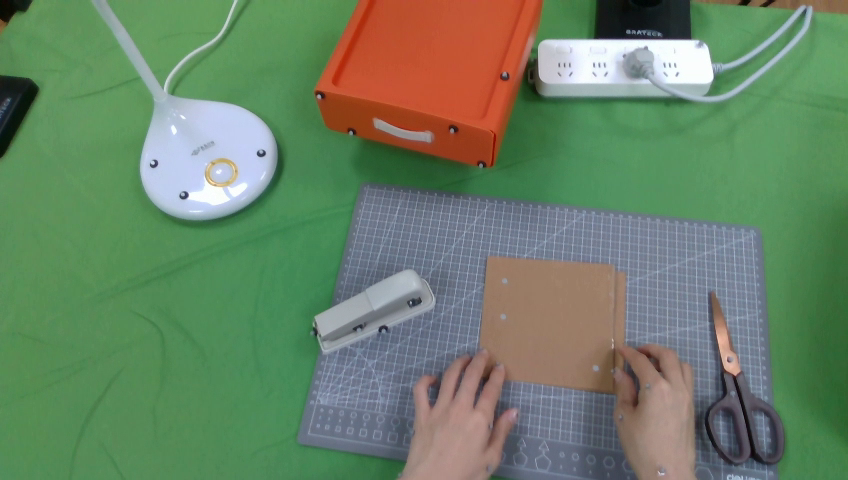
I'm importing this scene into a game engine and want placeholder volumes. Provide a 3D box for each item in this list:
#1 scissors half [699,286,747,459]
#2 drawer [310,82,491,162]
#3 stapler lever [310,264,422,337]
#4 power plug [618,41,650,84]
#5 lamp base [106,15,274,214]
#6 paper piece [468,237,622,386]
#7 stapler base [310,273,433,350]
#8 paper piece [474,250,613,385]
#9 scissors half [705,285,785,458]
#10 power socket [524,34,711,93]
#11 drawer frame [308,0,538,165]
[{"bbox_3d":[0.288,0.124,0.595,0.040,0.013,0.174,7,62,5],"label":"scissors half"},{"bbox_3d":[0.005,-0.209,0.680,0.194,0.074,0.210,15,66,10],"label":"drawer"},{"bbox_3d":[-0.058,0.059,0.609,0.118,0.040,0.026,-23,63,-7],"label":"stapler lever"},{"bbox_3d":[0.246,-0.202,0.716,0.035,0.053,0.072,11,66,8],"label":"power plug"},{"bbox_3d":[-0.272,-0.142,0.655,0.178,0.182,0.160,39,72,21],"label":"lamp base"},{"bbox_3d":[0.129,0.071,0.638,0.135,0.004,0.135,15,68,16],"label":"paper piece"},{"bbox_3d":[-0.055,0.069,0.631,0.130,0.024,0.041,-23,63,-6],"label":"stapler base"},{"bbox_3d":[0.125,0.076,0.627,0.136,0.009,0.137,3,69,10],"label":"paper piece"},{"bbox_3d":[0.308,0.123,0.594,0.040,0.013,0.173,-11,61,2],"label":"scissors half"},{"bbox_3d":[0.239,-0.219,0.749,0.227,0.033,0.071,2,66,3],"label":"power socket"},{"bbox_3d":[0.006,-0.213,0.685,0.201,0.083,0.212,15,68,10],"label":"drawer frame"}]
